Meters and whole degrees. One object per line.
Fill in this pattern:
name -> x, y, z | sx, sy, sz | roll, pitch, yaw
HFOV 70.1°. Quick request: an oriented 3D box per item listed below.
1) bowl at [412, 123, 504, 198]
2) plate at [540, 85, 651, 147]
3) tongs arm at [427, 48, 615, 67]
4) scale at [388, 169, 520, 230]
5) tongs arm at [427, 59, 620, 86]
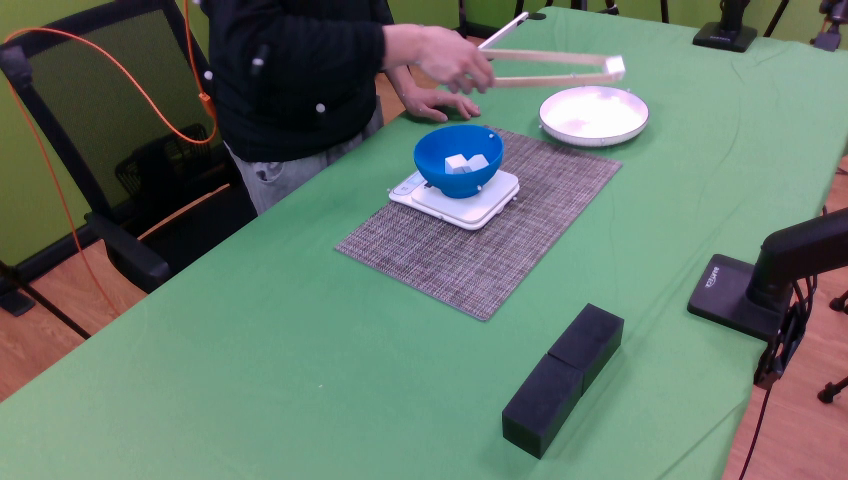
bowl -> 0.060, -0.123, 1.007 | 0.151, 0.077, 0.150 | -5, 41, 5
plate -> 0.333, -0.239, 1.186 | 0.207, 0.039, 0.206 | -4, 41, 4
tongs arm -> 0.181, -0.318, 1.062 | 0.390, 0.027, 0.028 | -7, 80, -25
scale -> 0.050, -0.090, 1.051 | 0.199, 0.032, 0.149 | 24, 49, 31
tongs arm -> 0.186, -0.295, 1.057 | 0.387, 0.026, 0.050 | -11, 79, -26
